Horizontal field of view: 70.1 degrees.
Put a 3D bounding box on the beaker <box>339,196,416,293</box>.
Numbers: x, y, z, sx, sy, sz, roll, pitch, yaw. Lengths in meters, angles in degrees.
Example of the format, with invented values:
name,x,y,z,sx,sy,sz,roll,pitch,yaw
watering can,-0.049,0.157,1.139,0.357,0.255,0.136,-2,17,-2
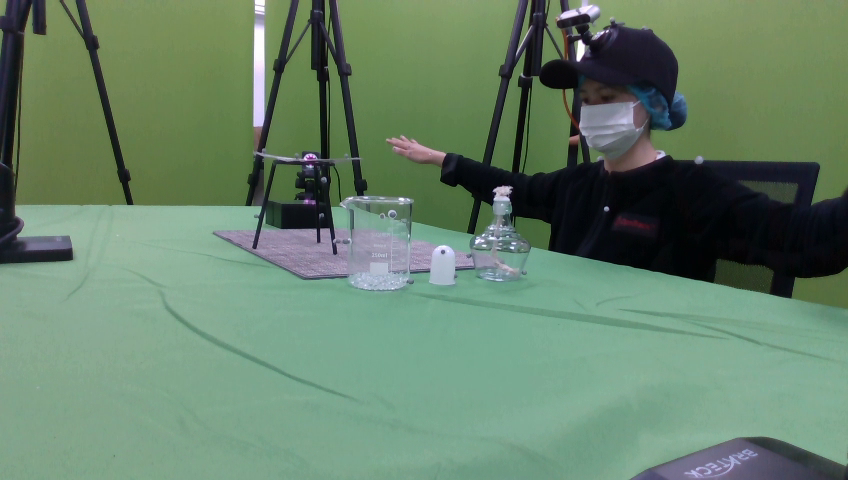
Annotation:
name,x,y,z,sx,sy,sz,roll,pitch,yaw
beaker,-0.052,0.004,0.660,0.084,0.100,0.073,-1,7,-18

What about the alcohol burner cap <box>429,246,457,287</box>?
name,x,y,z,sx,sy,sz,roll,pitch,yaw
alcohol burner cap,0.024,0.030,0.705,0.034,0.048,0.034,2,6,0

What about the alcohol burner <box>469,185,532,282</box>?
name,x,y,z,sx,sy,sz,roll,pitch,yaw
alcohol burner,0.096,-0.008,0.752,0.078,0.119,0.078,3,5,0

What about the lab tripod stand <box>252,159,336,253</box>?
name,x,y,z,sx,sy,sz,roll,pitch,yaw
lab tripod stand,-0.180,-0.053,0.900,0.148,0.131,0.148,1,6,0

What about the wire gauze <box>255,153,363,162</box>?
name,x,y,z,sx,sy,sz,roll,pitch,yaw
wire gauze,-0.172,-0.119,0.891,0.122,0.011,0.124,-2,7,-38
